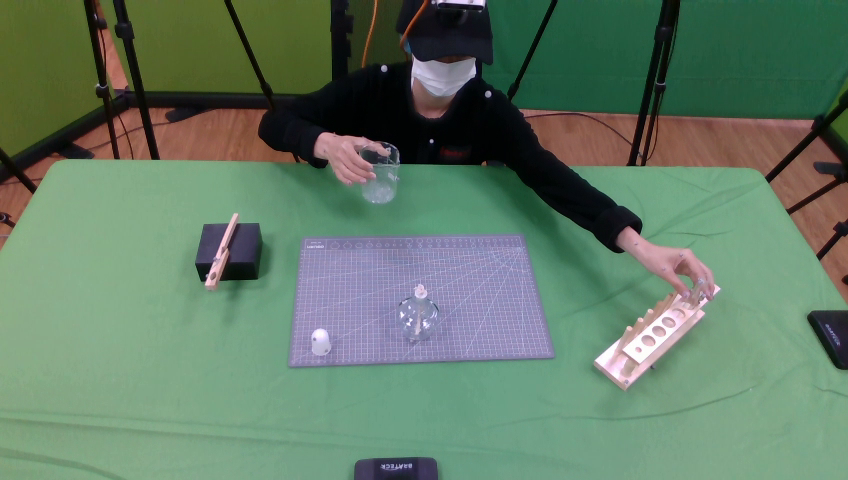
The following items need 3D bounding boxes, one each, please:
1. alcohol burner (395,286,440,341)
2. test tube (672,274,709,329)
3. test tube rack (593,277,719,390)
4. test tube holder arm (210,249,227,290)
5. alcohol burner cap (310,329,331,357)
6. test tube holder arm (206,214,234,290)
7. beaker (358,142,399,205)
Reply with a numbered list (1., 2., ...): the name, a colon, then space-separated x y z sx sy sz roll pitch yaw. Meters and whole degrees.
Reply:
1. alcohol burner: -0.010 0.116 1.018 0.078 0.119 0.077 3 47 -3
2. test tube: 0.445 0.107 1.018 0.017 0.151 0.017 0 50 0
3. test tube rack: 0.401 0.148 1.043 0.242 0.085 0.066 -30 55 -29
4. test tube holder arm: -0.359 0.050 1.059 0.010 0.015 0.087 8 45 -9
5. alcohol burner cap: -0.173 0.168 1.005 0.034 0.048 0.033 2 46 -2
6. test tube holder arm: -0.365 0.017 1.090 0.013 0.015 0.177 8 46 -10
7. beaker: -0.085 -0.123 1.146 0.083 0.101 0.074 29 47 20
